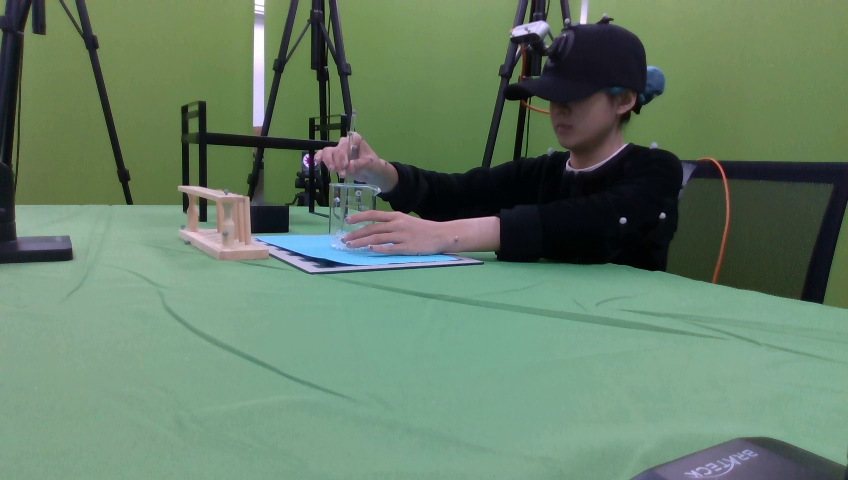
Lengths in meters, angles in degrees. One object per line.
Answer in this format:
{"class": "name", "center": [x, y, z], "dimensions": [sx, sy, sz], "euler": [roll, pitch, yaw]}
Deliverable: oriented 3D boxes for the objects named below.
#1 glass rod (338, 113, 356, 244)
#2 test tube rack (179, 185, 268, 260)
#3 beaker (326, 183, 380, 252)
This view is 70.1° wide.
{"class": "glass rod", "center": [-0.117, -0.092, 0.920], "dimensions": [0.008, 0.199, 0.008], "euler": [7, 7, -1]}
{"class": "test tube rack", "center": [-0.303, -0.031, 0.898], "dimensions": [0.067, 0.085, 0.241], "euler": [-2, 9, -33]}
{"class": "beaker", "center": [-0.108, -0.035, 0.921], "dimensions": [0.084, 0.100, 0.074], "euler": [5, 8, 14]}
